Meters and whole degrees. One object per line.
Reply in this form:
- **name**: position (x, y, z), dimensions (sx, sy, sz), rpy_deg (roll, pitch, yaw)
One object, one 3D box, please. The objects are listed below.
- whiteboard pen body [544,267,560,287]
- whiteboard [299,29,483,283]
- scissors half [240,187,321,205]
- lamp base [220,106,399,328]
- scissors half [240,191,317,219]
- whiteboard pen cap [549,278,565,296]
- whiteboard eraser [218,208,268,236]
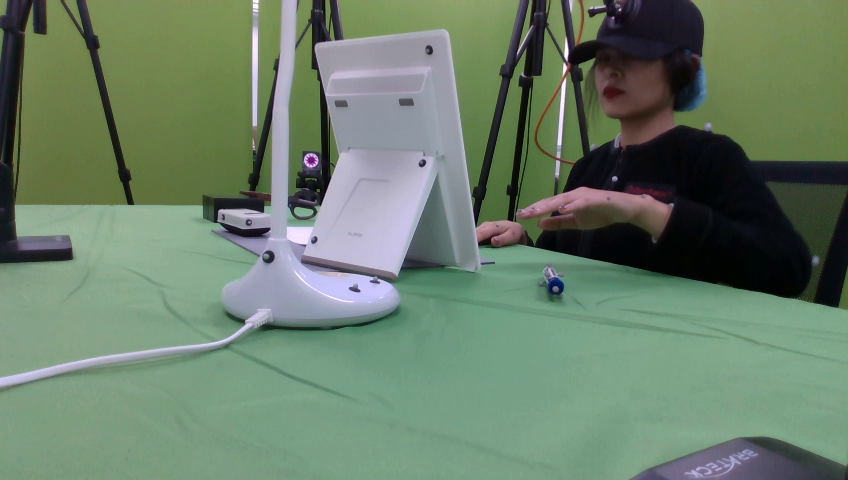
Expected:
- **whiteboard pen body**: position (0.149, 0.046, 0.698), dimensions (0.017, 0.017, 0.141), rpy_deg (4, 4, 9)
- **whiteboard**: position (-0.074, -0.082, 0.742), dimensions (0.216, 0.305, 0.144), rpy_deg (9, 29, 38)
- **scissors half**: position (-0.311, -0.097, 1.319), dimensions (0.176, 0.040, 0.012), rpy_deg (-1, 30, -25)
- **lamp base**: position (-0.101, -0.023, 0.531), dimensions (0.160, 0.180, 0.179), rpy_deg (4, 10, 10)
- **scissors half**: position (-0.317, -0.079, 1.326), dimensions (0.176, 0.040, 0.013), rpy_deg (18, 16, -31)
- **whiteboard pen cap**: position (0.140, 0.050, 0.639), dimensions (0.018, 0.018, 0.033), rpy_deg (4, 2, 9)
- **whiteboard eraser**: position (-0.309, -0.031, 1.044), dimensions (0.056, 0.042, 0.112), rpy_deg (-2, 9, -40)
